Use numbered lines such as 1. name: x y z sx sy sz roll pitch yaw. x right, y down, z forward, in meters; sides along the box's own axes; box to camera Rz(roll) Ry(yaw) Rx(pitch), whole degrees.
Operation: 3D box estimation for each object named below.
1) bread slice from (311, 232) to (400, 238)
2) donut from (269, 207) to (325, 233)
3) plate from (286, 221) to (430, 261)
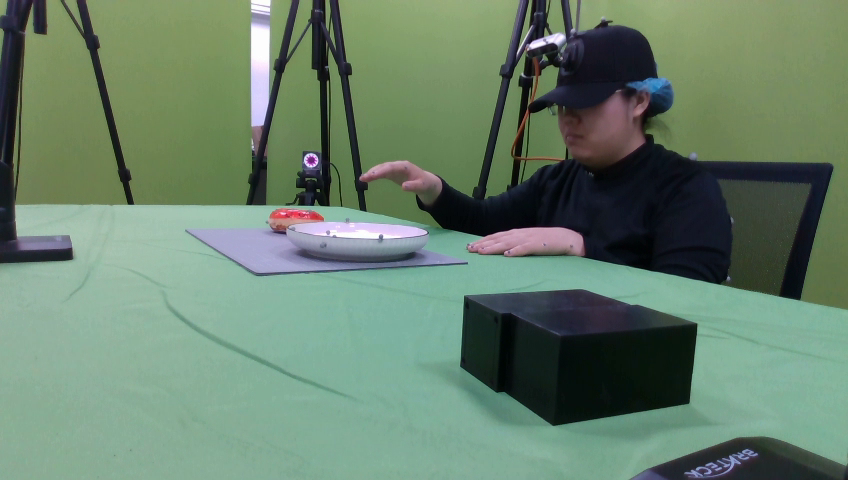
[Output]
1. bread slice: -0.101 0.002 0.885 0.135 0.018 0.106 -3 8 -38
2. donut: -0.230 -0.035 1.098 0.099 0.048 0.099 3 5 0
3. plate: -0.096 0.001 0.886 0.209 0.038 0.209 2 7 0
